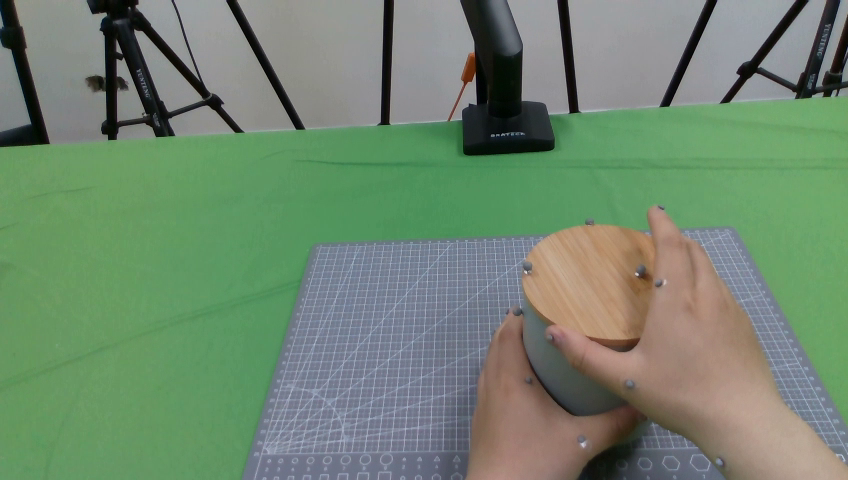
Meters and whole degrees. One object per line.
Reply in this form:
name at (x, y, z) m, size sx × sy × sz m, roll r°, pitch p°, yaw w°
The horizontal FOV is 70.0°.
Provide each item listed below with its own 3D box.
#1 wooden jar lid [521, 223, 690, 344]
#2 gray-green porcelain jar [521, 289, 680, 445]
wooden jar lid at (0.119, 0.030, 0.405) m, size 0.108 × 0.021 × 0.107 m, roll -5°, pitch 40°, yaw 4°
gray-green porcelain jar at (0.124, 0.078, 0.444) m, size 0.106 × 0.128 × 0.105 m, roll -4°, pitch 39°, yaw 3°
